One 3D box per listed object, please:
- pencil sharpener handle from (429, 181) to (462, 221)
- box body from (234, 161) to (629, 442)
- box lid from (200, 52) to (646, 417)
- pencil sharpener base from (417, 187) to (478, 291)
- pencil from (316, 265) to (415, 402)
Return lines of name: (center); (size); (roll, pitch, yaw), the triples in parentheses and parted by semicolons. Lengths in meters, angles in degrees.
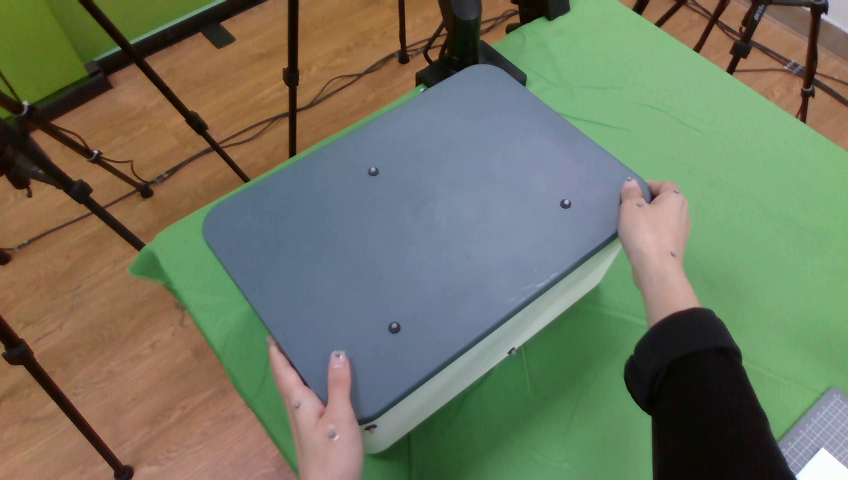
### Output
pencil sharpener handle: (0.024, -0.050, 0.685); (0.036, 0.068, 0.030); (-3, 57, 3)
box body: (0.004, 0.004, 0.640); (0.364, 0.162, 0.252); (-34, 64, -19)
box lid: (0.004, -0.036, 0.578); (0.371, 0.015, 0.261); (-35, 64, -18)
pencil sharpener base: (0.024, 0.000, 0.668); (0.061, 0.108, 0.076); (-1, 57, 0)
pencil: (-0.066, 0.099, 0.664); (0.012, 0.012, 0.192); (-31, 66, -18)
